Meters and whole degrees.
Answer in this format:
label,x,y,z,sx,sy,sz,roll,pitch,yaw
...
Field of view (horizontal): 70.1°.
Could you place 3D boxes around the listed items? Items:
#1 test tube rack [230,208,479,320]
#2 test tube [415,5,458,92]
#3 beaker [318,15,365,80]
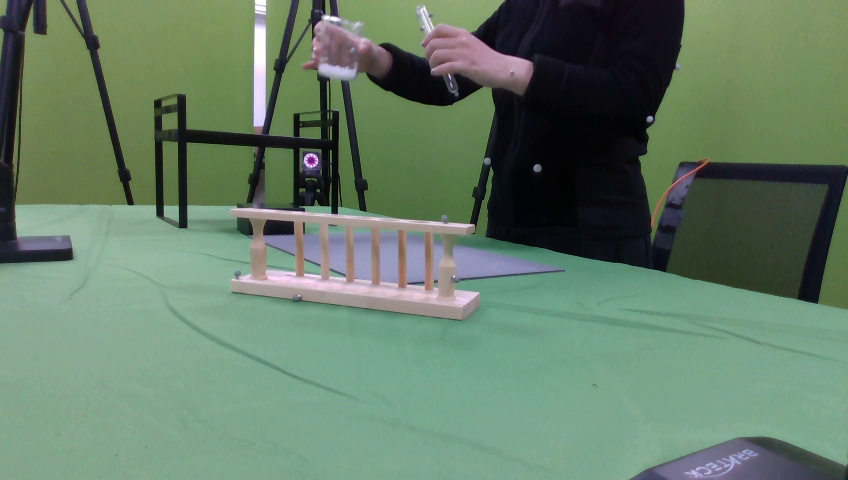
label,x,y,z,sx,sy,sz,roll,pitch,yaw
test tube rack,-0.069,0.017,0.598,0.242,0.085,0.067,5,8,18
test tube,0.019,-0.290,0.914,0.017,0.150,0.017,-21,-12,-4
beaker,-0.145,-0.335,1.059,0.074,0.100,0.083,-3,22,-36
